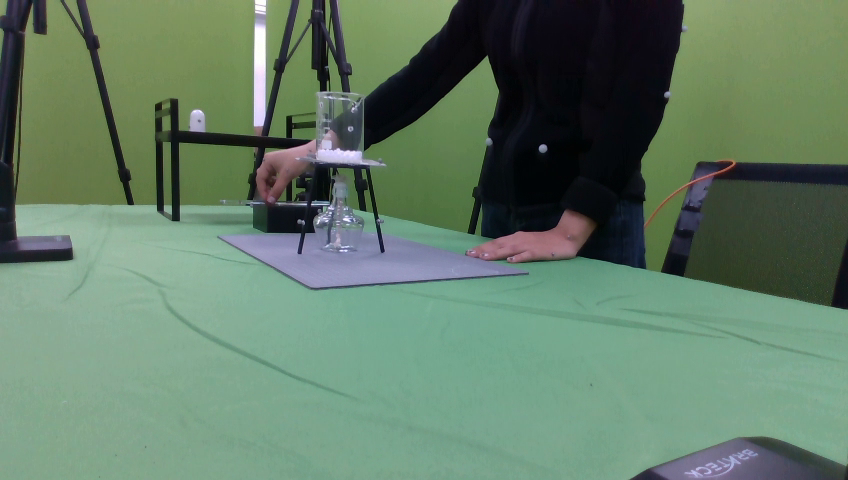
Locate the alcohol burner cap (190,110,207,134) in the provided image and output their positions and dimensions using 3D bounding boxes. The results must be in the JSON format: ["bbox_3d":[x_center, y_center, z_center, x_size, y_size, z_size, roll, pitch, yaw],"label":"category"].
[{"bbox_3d":[-0.463,-0.242,1.240,0.034,0.048,0.034,2,7,0],"label":"alcohol burner cap"}]

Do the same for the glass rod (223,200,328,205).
[{"bbox_3d":[-0.275,-0.070,1.139,0.201,0.008,0.008,0,8,-28],"label":"glass rod"}]

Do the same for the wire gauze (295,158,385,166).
[{"bbox_3d":[-0.128,-0.117,0.901,0.125,0.011,0.121,-2,8,-14],"label":"wire gauze"}]

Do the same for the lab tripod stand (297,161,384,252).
[{"bbox_3d":[-0.130,-0.051,0.903,0.148,0.131,0.148,3,9,0],"label":"lab tripod stand"}]

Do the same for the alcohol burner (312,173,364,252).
[{"bbox_3d":[-0.129,-0.042,0.910,0.078,0.119,0.078,4,8,0],"label":"alcohol burner"}]

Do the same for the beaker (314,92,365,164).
[{"bbox_3d":[-0.123,-0.163,0.893,0.073,0.100,0.084,7,9,31],"label":"beaker"}]
